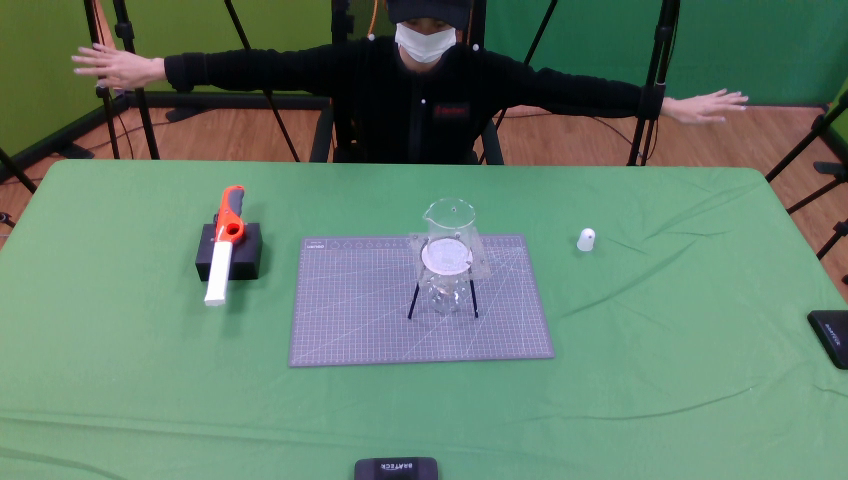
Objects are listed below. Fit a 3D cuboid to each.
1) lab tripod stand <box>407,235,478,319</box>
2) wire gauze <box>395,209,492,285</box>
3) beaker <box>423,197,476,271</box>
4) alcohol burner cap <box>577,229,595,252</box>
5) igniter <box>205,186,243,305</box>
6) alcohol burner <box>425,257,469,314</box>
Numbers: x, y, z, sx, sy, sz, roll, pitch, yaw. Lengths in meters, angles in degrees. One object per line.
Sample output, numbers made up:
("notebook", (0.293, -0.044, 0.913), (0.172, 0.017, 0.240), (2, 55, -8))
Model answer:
("lab tripod stand", (0.032, 0.065, 1.057), (0.148, 0.132, 0.147), (1, 45, -1))
("wire gauze", (0.031, 0.011, 0.995), (0.125, 0.011, 0.120), (-23, 53, -19))
("beaker", (0.038, -0.007, 0.967), (0.084, 0.101, 0.073), (-4, 43, -7))
("alcohol burner cap", (0.326, -0.002, 1.213), (0.034, 0.048, 0.033), (1, 47, -1))
("igniter", (-0.361, 0.001, 1.100), (0.057, 0.025, 0.274), (-2, 49, -6))
("alcohol burner", (0.040, 0.074, 1.062), (0.078, 0.120, 0.077), (1, 46, -1))
